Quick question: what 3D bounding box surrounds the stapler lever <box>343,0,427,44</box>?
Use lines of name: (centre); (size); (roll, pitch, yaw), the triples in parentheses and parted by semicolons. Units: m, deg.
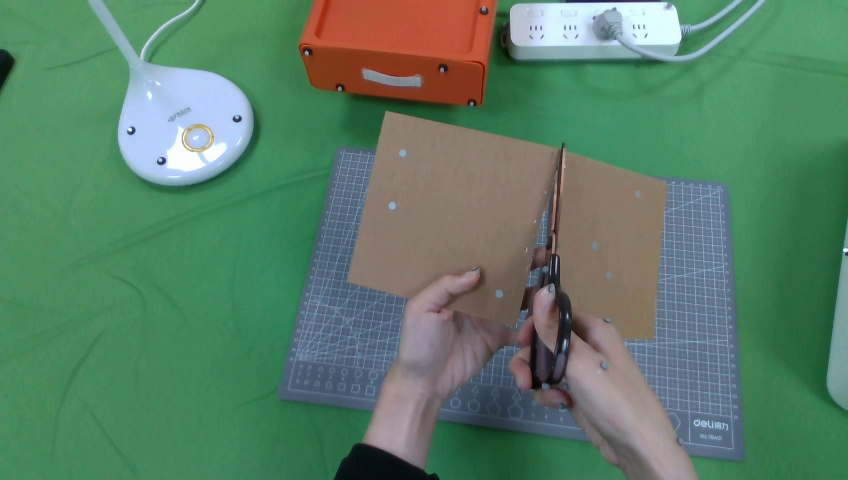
stapler lever: (-0.047, -0.259, 0.685); (0.117, 0.040, 0.027); (36, 88, 20)

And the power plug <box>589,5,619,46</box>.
power plug: (0.215, -0.249, 0.729); (0.035, 0.053, 0.072); (11, 67, 7)

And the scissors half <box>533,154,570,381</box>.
scissors half: (0.087, 0.007, 0.404); (0.013, 0.040, 0.174); (11, 60, -6)

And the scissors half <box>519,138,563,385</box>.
scissors half: (0.084, 0.013, 0.425); (0.013, 0.040, 0.175); (10, 87, -2)

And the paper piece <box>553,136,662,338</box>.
paper piece: (0.141, 0.004, 0.468); (0.136, 0.004, 0.135); (13, 84, -36)

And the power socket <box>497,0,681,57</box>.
power socket: (0.207, -0.266, 0.762); (0.227, 0.033, 0.071); (1, 67, 2)

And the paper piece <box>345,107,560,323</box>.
paper piece: (0.017, -0.020, 0.450); (0.135, 0.008, 0.138); (15, 98, 13)

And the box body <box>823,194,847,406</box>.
box body: (0.546, 0.012, 0.554); (0.253, 0.161, 0.362); (19, 68, 10)

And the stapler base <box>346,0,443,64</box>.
stapler base: (-0.038, -0.253, 0.709); (0.129, 0.024, 0.041); (36, 88, 19)

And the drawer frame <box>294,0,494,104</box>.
drawer frame: (-0.022, -0.273, 0.698); (0.201, 0.083, 0.212); (7, 66, 6)

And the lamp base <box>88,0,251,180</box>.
lamp base: (-0.301, -0.181, 0.662); (0.178, 0.182, 0.160); (38, 72, 20)

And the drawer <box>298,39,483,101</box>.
drawer: (-0.020, -0.271, 0.697); (0.194, 0.074, 0.210); (7, 66, 6)
